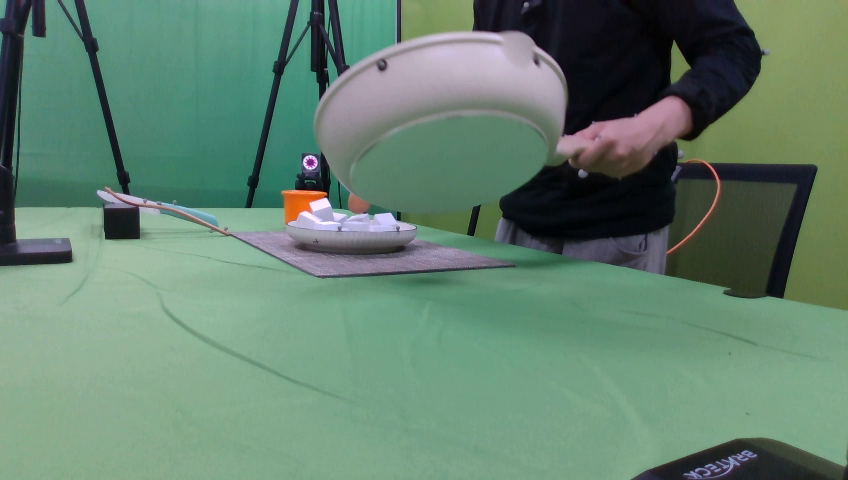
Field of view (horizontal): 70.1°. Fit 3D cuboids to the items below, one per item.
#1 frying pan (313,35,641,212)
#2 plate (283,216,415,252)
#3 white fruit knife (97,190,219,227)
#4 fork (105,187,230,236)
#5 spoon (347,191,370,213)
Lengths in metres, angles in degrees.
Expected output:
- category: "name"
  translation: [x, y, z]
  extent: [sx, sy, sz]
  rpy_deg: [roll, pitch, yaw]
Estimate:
- category: "frying pan"
  translation: [0.110, -0.117, 0.746]
  extent: [0.491, 0.102, 0.306]
  rpy_deg: [-5, -18, -34]
- category: "plate"
  translation: [-0.119, -0.010, 0.968]
  extent: [0.208, 0.039, 0.207]
  rpy_deg: [3, 7, 0]
- category: "white fruit knife"
  translation: [-0.468, -0.057, 1.079]
  extent: [0.208, 0.027, 0.016]
  rpy_deg: [15, -3, -29]
- category: "fork"
  translation: [-0.428, -0.047, 1.020]
  extent: [0.208, 0.018, 0.028]
  rpy_deg: [19, -8, -26]
- category: "spoon"
  translation: [-0.093, -0.139, 1.005]
  extent: [0.042, 0.193, 0.021]
  rpy_deg: [17, -15, -29]
